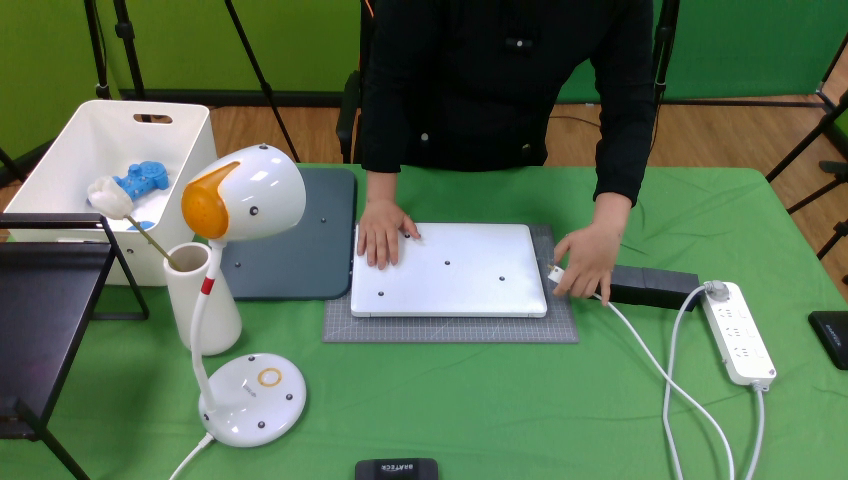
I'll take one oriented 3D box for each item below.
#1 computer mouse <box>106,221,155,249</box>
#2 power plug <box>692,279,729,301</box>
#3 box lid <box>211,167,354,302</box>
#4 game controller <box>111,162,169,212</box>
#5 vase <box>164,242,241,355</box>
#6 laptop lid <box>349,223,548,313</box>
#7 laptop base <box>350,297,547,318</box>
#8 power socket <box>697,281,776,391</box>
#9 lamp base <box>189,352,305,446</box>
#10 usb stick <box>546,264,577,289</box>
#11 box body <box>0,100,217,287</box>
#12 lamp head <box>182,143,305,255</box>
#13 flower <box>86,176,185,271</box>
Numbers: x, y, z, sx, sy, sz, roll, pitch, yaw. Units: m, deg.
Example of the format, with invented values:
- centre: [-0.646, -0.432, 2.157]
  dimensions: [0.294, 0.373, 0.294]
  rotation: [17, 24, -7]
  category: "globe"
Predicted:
- centre: [-0.537, 0.009, 1.127]
  dimensions: [0.062, 0.041, 0.117]
  rotation: [31, 55, 21]
  category: "computer mouse"
- centre: [0.522, 0.091, 1.115]
  dimensions: [0.072, 0.053, 0.035]
  rotation: [11, 48, 8]
  category: "power plug"
- centre: [-0.276, -0.023, 1.205]
  dimensions: [0.263, 0.015, 0.369]
  rotation: [0, 46, -4]
  category: "box lid"
- centre: [-0.597, -0.113, 1.234]
  dimensions: [0.097, 0.052, 0.155]
  rotation: [29, 52, 20]
  category: "game controller"
- centre: [-0.349, 0.096, 0.953]
  dimensions: [0.098, 0.201, 0.097]
  rotation: [3, 47, -3]
  category: "vase"
- centre: [0.042, 0.046, 1.142]
  dimensions: [0.357, 0.013, 0.240]
  rotation: [2, 43, -3]
  category: "laptop lid"
- centre: [0.041, 0.056, 1.148]
  dimensions: [0.355, 0.023, 0.234]
  rotation: [0, 42, -4]
  category: "laptop base"
- centre: [0.550, 0.161, 1.078]
  dimensions: [0.072, 0.033, 0.225]
  rotation: [2, 46, -1]
  category: "power socket"
- centre: [-0.268, 0.197, 0.876]
  dimensions: [0.160, 0.181, 0.179]
  rotation: [26, 52, 20]
  category: "lamp base"
- centre: [0.242, 0.063, 1.084]
  dimensions: [0.059, 0.021, 0.027]
  rotation: [28, 93, 1]
  category: "usb stick"
- centre: [-0.559, -0.092, 1.144]
  dimensions: [0.254, 0.161, 0.361]
  rotation: [3, 46, -2]
  category: "box body"
- centre: [-0.215, -0.043, 0.696]
  dimensions: [0.112, 0.113, 0.123]
  rotation: [23, 31, 17]
  category: "lamp head"
- centre: [-0.365, 0.038, 0.894]
  dimensions: [0.038, 0.364, 0.044]
  rotation: [-4, 53, 15]
  category: "flower"
